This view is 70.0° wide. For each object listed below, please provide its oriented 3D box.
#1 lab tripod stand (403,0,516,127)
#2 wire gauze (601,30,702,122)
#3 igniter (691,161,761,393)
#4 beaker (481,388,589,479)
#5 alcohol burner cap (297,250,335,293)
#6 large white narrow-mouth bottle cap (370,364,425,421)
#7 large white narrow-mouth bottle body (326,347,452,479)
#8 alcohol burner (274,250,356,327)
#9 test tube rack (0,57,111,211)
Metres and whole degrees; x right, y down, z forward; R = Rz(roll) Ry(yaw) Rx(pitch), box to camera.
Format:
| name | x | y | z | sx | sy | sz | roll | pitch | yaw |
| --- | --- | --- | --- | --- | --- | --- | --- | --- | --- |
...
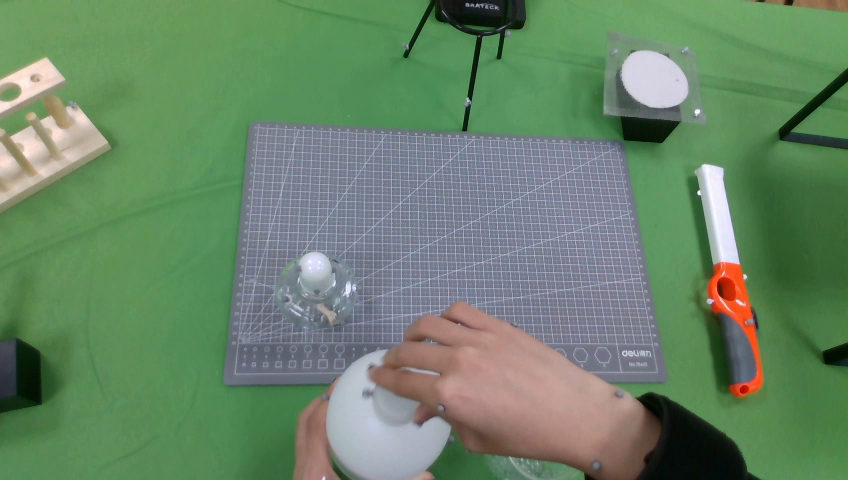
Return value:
| name | x | y | z | sx | sy | sz | roll | pitch | yaw |
| --- | --- | --- | --- | --- | --- | --- | --- | --- | --- |
| lab tripod stand | 0.049 | -0.228 | 0.700 | 0.149 | 0.132 | 0.147 | 4 | 67 | -9 |
| wire gauze | 0.275 | -0.198 | 0.736 | 0.121 | 0.011 | 0.124 | 9 | 65 | -5 |
| igniter | 0.341 | 0.035 | 0.688 | 0.057 | 0.025 | 0.274 | 8 | 66 | -16 |
| beaker | 0.093 | 0.180 | 0.549 | 0.084 | 0.101 | 0.073 | 7 | 65 | -4 |
| alcohol burner cap | -0.097 | 0.026 | 0.535 | 0.034 | 0.048 | 0.033 | 2 | 71 | -4 |
| large white narrow-mouth bottle cap | -0.019 | 0.104 | 0.414 | 0.038 | 0.024 | 0.037 | 3 | 66 | -7 |
| large white narrow-mouth bottle body | -0.030 | 0.142 | 0.495 | 0.102 | 0.195 | 0.101 | 3 | 65 | -6 |
| alcohol burner | -0.102 | 0.040 | 0.569 | 0.078 | 0.119 | 0.077 | 4 | 65 | -9 |
| test tube rack | -0.444 | -0.071 | 0.582 | 0.242 | 0.085 | 0.066 | -38 | 77 | -21 |
